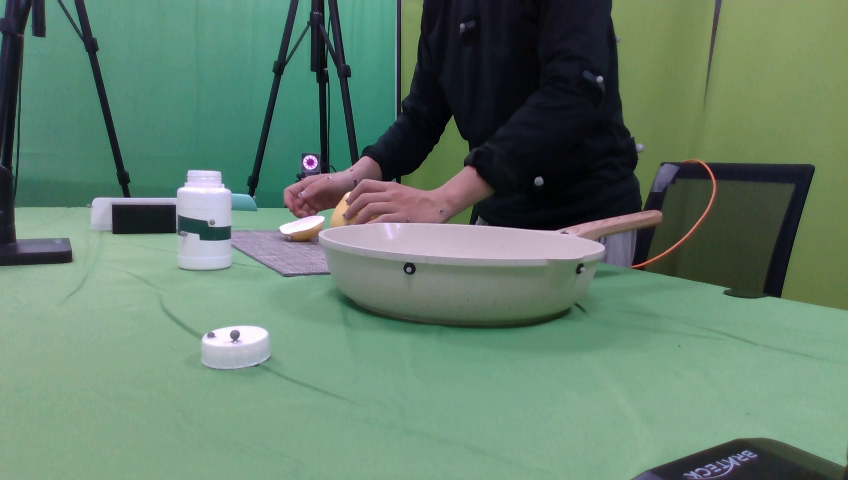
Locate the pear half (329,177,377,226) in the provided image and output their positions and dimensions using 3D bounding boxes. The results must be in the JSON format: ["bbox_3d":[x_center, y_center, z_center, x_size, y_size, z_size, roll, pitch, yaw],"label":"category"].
[{"bbox_3d":[-0.104,-0.042,0.945,0.077,0.110,0.055,-10,15,-42],"label":"pear half"}]

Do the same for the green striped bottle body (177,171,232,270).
[{"bbox_3d":[-0.273,-0.026,0.752,0.063,0.119,0.063,2,7,0],"label":"green striped bottle body"}]

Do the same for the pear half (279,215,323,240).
[{"bbox_3d":[-0.206,-0.017,1.018,0.087,0.031,0.070,-7,17,36],"label":"pear half"}]

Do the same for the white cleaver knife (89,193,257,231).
[{"bbox_3d":[-0.454,-0.052,1.115,0.288,0.066,0.021,-4,15,-27],"label":"white cleaver knife"}]

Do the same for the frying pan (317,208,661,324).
[{"bbox_3d":[0.121,0.006,0.691,0.490,0.102,0.305,-12,15,-33],"label":"frying pan"}]

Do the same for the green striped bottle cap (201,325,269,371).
[{"bbox_3d":[-0.129,0.073,0.415,0.044,0.020,0.044,2,8,0],"label":"green striped bottle cap"}]
